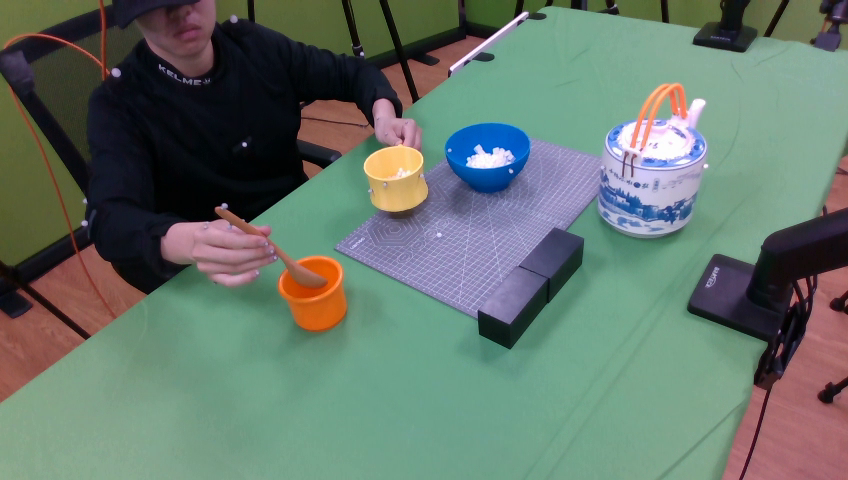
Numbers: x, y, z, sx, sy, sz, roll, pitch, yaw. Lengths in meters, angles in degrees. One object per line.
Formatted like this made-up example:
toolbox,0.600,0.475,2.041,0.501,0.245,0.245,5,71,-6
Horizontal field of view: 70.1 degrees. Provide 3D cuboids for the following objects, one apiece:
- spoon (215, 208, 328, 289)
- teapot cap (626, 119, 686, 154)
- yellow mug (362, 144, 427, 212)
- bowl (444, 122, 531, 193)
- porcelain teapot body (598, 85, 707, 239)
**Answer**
spoon,-0.189,0.014,0.763,0.041,0.195,0.021,-16,47,28
teapot cap,0.338,-0.153,0.882,0.085,0.044,0.085,-3,38,3
yellow mug,-0.046,-0.113,1.013,0.100,0.064,0.130,-1,41,9
bowl,0.113,-0.136,1.063,0.151,0.077,0.150,-4,41,4
porcelain teapot body,0.363,-0.137,0.921,0.144,0.226,0.206,29,51,36
